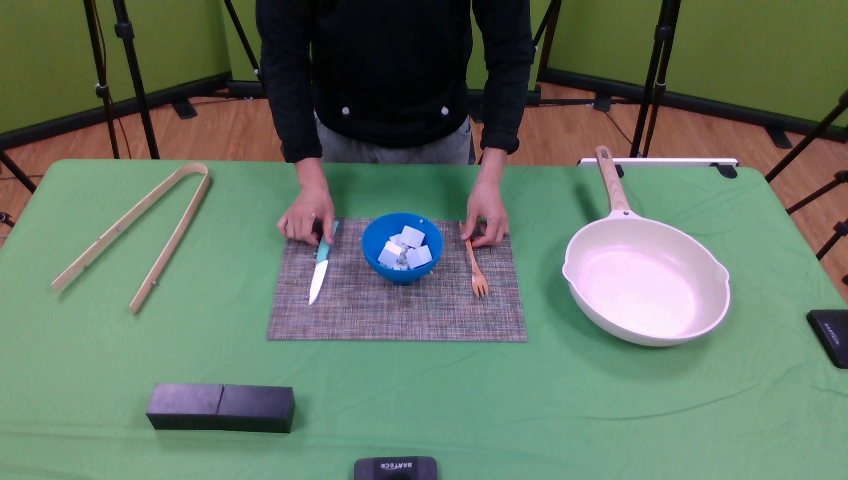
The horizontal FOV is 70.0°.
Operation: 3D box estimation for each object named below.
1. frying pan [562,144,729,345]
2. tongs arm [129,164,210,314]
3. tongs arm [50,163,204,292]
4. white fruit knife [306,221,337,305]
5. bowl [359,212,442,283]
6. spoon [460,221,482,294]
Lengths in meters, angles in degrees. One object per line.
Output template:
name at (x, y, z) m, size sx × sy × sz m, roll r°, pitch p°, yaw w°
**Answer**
frying pan at (0.396, -0.008, 1.179) m, size 0.307 × 0.103 × 0.484 m, roll 1°, pitch 55°, yaw -4°
tongs arm at (-0.483, -0.016, 1.170) m, size 0.028 × 0.028 × 0.385 m, roll 5°, pitch 46°, yaw 4°
tongs arm at (-0.561, -0.036, 1.178) m, size 0.050 × 0.026 × 0.383 m, roll 17°, pitch 46°, yaw 10°
white fruit knife at (-0.196, 0.040, 1.143) m, size 0.027 × 0.016 × 0.206 m, roll -2°, pitch 46°, yaw 9°
bowl at (-0.044, 0.026, 1.125) m, size 0.151 × 0.077 × 0.150 m, roll 2°, pitch 46°, yaw -2°
spoon at (0.086, 0.031, 1.169) m, size 0.042 × 0.022 × 0.192 m, roll 12°, pitch 47°, yaw -15°
